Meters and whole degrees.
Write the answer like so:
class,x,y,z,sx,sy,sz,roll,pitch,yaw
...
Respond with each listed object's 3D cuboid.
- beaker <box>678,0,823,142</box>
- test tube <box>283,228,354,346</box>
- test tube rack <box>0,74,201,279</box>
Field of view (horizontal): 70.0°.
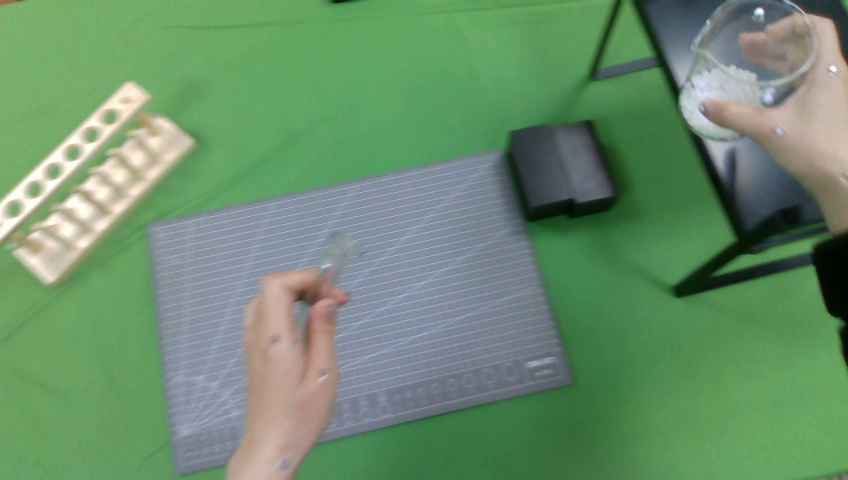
class,x,y,z,sx,sy,sz,roll,pitch,yaw
beaker,0.241,-0.126,0.469,0.084,0.101,0.073,-2,73,9
test tube,-0.074,0.037,0.404,0.017,0.151,0.017,12,54,-17
test tube rack,-0.388,-0.074,0.717,0.066,0.085,0.242,38,77,12
